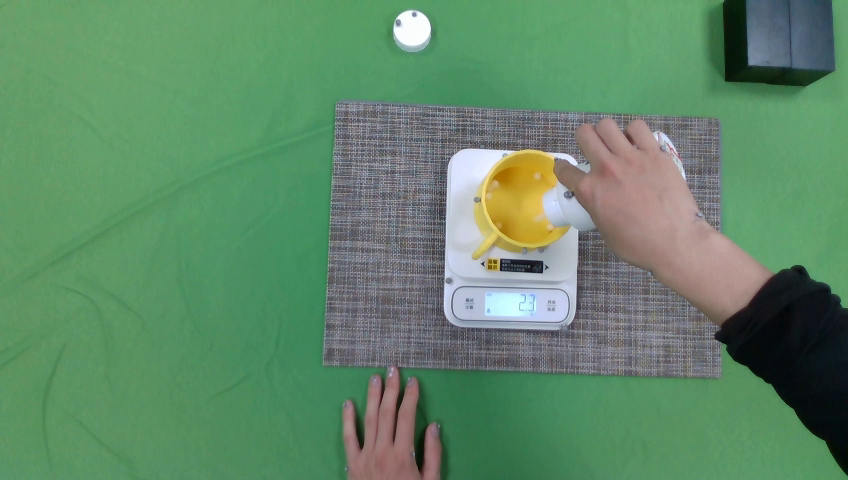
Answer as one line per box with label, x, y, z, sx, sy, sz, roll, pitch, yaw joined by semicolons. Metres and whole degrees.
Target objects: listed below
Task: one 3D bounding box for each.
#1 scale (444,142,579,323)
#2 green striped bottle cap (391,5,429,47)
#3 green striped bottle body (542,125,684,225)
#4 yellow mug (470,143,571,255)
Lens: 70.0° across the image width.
scale;0.098;-0.008;0.678;0.149;0.031;0.200;1;86;-1
green striped bottle cap;-0.016;-0.249;0.706;0.044;0.020;0.044;0;88;-2
green striped bottle body;0.169;-0.054;0.557;0.119;0.063;0.063;-22;84;38
yellow mug;0.094;-0.033;0.632;0.100;0.064;0.131;42;86;1
